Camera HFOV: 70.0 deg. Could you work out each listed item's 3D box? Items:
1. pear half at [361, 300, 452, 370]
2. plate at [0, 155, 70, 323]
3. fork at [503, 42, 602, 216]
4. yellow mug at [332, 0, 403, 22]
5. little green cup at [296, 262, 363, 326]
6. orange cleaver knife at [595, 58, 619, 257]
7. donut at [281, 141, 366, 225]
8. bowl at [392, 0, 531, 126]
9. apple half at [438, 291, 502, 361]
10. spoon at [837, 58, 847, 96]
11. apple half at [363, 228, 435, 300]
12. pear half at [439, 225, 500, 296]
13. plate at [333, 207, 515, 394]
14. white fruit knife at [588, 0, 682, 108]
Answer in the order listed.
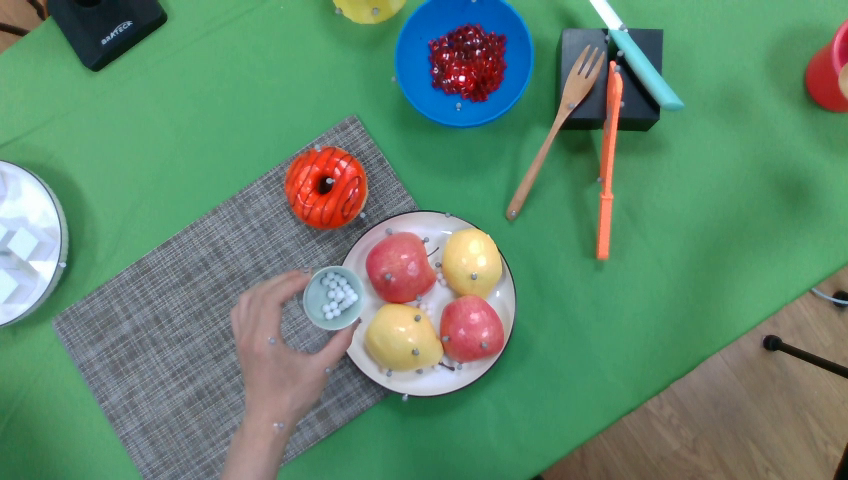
[{"bbox_3d":[-0.015,0.114,0.672,0.110,0.056,0.076,29,93,2],"label":"pear half"},{"bbox_3d":[-0.527,0.000,0.738,0.207,0.039,0.207,0,86,5],"label":"plate"},{"bbox_3d":[0.137,-0.116,0.668,0.028,0.018,0.208,24,109,-2],"label":"fork"},{"bbox_3d":[-0.085,-0.323,0.710,0.130,0.064,0.100,23,88,7],"label":"yellow mug"},{"bbox_3d":[-0.094,0.051,0.583,0.062,0.038,0.061,0,91,-26],"label":"little green cup"},{"bbox_3d":[0.199,-0.087,0.663,0.012,0.077,0.212,2,112,10],"label":"orange cleaver knife"},{"bbox_3d":[-0.117,-0.066,0.702,0.099,0.048,0.099,0,88,7],"label":"donut"},{"bbox_3d":[0.043,-0.196,0.686,0.151,0.077,0.151,0,87,4],"label":"bowl"},{"bbox_3d":[0.043,0.097,0.665,0.081,0.033,0.081,3,97,26],"label":"apple half"},{"bbox_3d":[0.444,-0.099,0.519,0.041,0.022,0.191,-42,57,7],"label":"spoon"},{"bbox_3d":[-0.030,0.028,0.675,0.074,0.053,0.080,-17,88,4],"label":"apple half"},{"bbox_3d":[0.046,0.028,0.672,0.070,0.031,0.088,-4,97,27],"label":"pear half"},{"bbox_3d":[-0.001,0.067,0.687,0.209,0.038,0.208,0,86,4],"label":"plate"},{"bbox_3d":[0.210,-0.226,0.656,0.027,0.016,0.206,-29,81,-27],"label":"white fruit knife"}]
